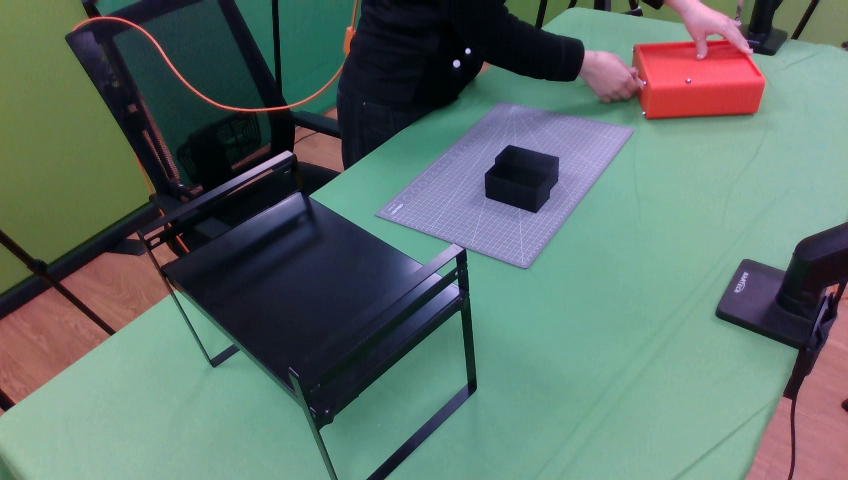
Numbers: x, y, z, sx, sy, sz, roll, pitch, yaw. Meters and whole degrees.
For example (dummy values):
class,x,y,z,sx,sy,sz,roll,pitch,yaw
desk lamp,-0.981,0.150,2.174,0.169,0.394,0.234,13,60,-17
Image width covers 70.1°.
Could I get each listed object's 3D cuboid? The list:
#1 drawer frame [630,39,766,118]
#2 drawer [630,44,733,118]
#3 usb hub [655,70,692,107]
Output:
class,x,y,z,sx,sy,sz,roll,pitch,yaw
drawer frame,0.544,-0.332,1.233,0.213,0.083,0.201,-1,41,6
drawer,0.542,-0.329,1.234,0.211,0.073,0.193,0,40,7
usb hub,0.512,-0.312,1.242,0.049,0.025,0.124,-1,40,8
